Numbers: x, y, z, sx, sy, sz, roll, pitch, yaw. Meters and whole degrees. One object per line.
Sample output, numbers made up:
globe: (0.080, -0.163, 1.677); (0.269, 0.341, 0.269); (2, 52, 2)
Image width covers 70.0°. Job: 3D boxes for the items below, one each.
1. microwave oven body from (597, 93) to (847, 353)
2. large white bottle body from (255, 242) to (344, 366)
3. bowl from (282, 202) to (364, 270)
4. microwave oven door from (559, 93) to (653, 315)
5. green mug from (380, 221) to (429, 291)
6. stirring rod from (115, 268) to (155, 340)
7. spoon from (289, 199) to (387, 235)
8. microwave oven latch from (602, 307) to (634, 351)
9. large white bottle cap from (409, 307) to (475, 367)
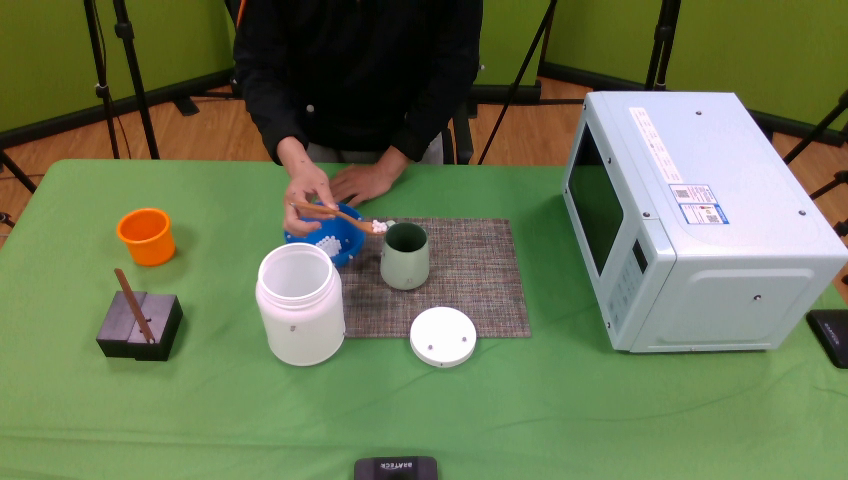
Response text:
microwave oven body: (0.475, -0.041, 1.109); (0.326, 0.261, 0.438); (-1, 45, -4)
large white bottle body: (-0.196, 0.102, 0.967); (0.131, 0.185, 0.130); (2, 49, -2)
bowl: (-0.186, 0.006, 1.136); (0.151, 0.077, 0.150); (3, 46, -2)
microwave oven door: (0.327, -0.074, 1.123); (0.039, 0.245, 0.353); (-1, 46, -5)
green mug: (-0.043, 0.020, 1.116); (0.092, 0.105, 0.124); (-20, 50, -21)
stirring rod: (-0.478, 0.102, 0.999); (0.014, 0.006, 0.175); (8, 32, -49)
spoon: (-0.137, -0.039, 0.989); (0.195, 0.021, 0.041); (22, 18, -43)
microwave oven latch: (0.332, 0.153, 1.044); (0.030, 0.029, 0.078); (-1, 45, -4)
large white bottle cap: (0.031, 0.165, 1.041); (0.115, 0.018, 0.114); (2, 47, -2)
